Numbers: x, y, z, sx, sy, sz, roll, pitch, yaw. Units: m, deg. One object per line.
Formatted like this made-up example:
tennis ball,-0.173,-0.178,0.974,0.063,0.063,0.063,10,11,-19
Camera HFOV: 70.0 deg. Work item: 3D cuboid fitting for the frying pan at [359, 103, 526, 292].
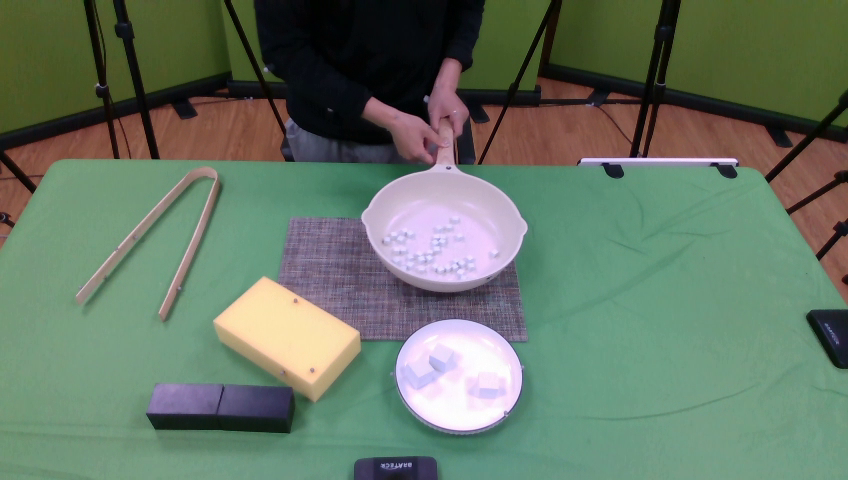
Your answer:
frying pan,0.037,-0.099,1.191,0.307,0.103,0.485,5,55,-2

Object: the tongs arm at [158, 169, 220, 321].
tongs arm,-0.446,-0.005,1.164,0.028,0.028,0.385,1,46,0

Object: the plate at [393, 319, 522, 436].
plate,0.053,0.222,0.979,0.208,0.039,0.206,2,46,-2

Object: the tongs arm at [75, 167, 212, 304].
tongs arm,-0.526,-0.021,1.167,0.051,0.026,0.383,13,45,7

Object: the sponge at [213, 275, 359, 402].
sponge,-0.225,0.158,0.998,0.206,0.061,0.118,27,52,18
